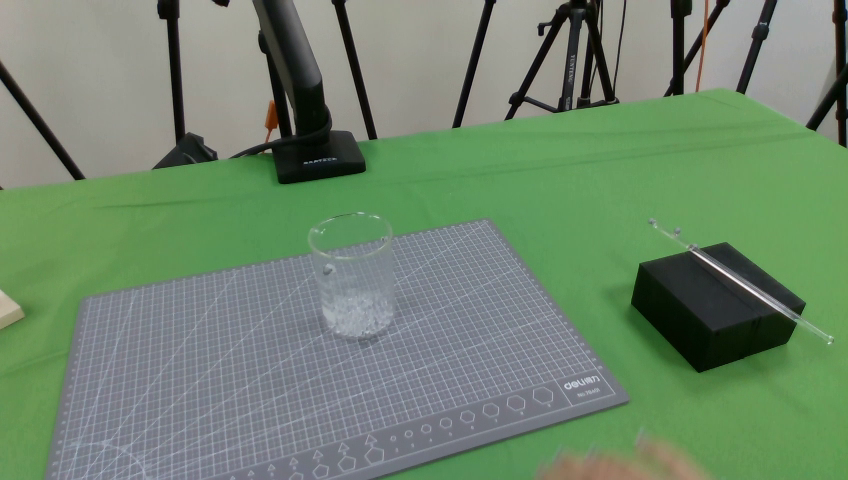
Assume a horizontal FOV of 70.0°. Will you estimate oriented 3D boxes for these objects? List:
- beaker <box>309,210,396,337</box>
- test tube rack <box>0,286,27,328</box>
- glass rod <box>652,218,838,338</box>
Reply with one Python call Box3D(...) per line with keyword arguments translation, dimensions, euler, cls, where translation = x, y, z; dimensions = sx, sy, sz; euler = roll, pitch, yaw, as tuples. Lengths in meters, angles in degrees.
Box3D(translation=(-0.065, 0.033, 0.559), dimensions=(0.083, 0.101, 0.074), euler=(19, 40, 27), cls="beaker")
Box3D(translation=(-0.492, 0.083, 0.512), dimensions=(0.066, 0.086, 0.242), euler=(24, 42, 30), cls="test tube rack")
Box3D(translation=(0.283, 0.027, 0.554), dimensions=(0.008, 0.008, 0.197), euler=(-18, 38, -22), cls="glass rod")
